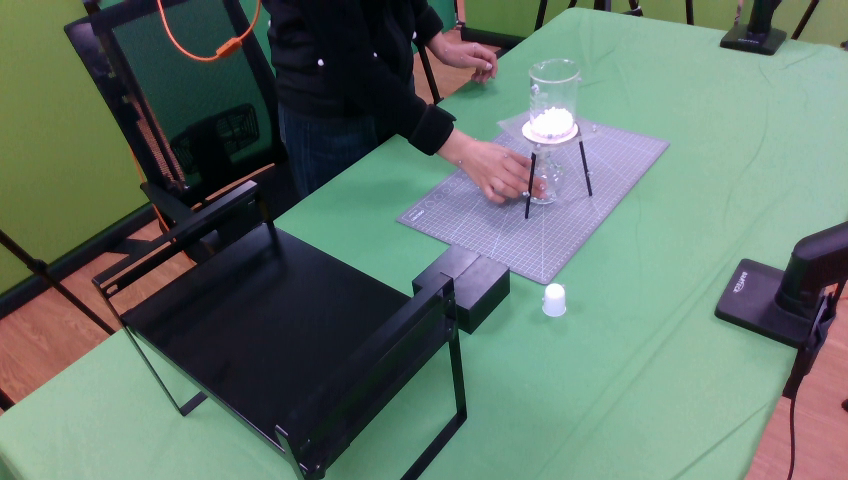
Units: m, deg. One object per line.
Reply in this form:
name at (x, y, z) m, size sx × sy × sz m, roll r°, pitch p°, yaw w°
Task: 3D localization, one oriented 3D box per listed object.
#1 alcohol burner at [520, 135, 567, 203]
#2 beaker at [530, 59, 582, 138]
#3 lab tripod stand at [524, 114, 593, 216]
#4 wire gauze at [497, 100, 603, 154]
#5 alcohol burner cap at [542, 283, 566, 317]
alcohol burner at (0.199, -0.121, 1.011) m, size 0.078 × 0.119 × 0.077 m, roll -6°, pitch 41°, yaw 5°
beaker at (0.198, -0.217, 0.932) m, size 0.074 × 0.101 × 0.083 m, roll -22°, pitch 43°, yaw -16°
lab tripod stand at (0.210, -0.127, 1.001) m, size 0.148 × 0.132 × 0.147 m, roll -4°, pitch 43°, yaw 4°
wire gauze at (0.199, -0.179, 0.962) m, size 0.125 × 0.011 × 0.120 m, roll -21°, pitch 42°, yaw -12°
alcohol burner cap at (0.181, 0.081, 0.839) m, size 0.034 × 0.048 × 0.033 m, roll -4°, pitch 40°, yaw 3°
